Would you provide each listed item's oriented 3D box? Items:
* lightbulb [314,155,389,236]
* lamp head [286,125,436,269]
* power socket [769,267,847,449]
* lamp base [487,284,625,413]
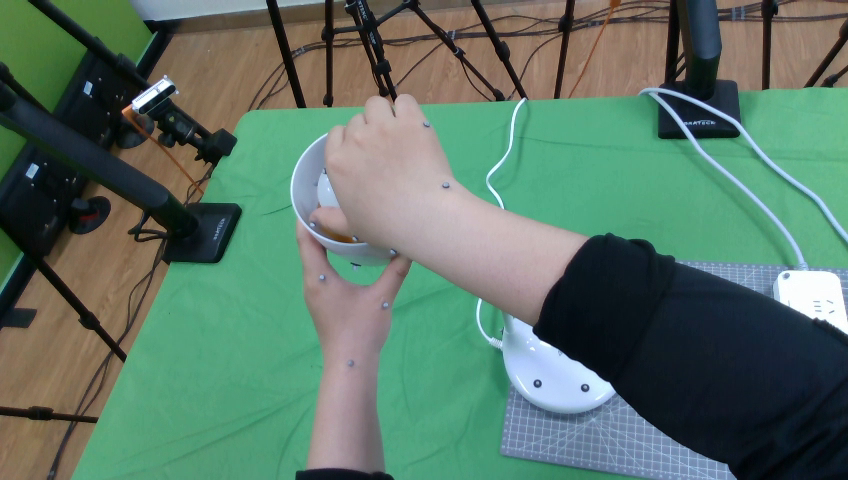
[{"bbox_3d":[-0.056,-0.030,0.507,0.059,0.108,0.059,-1,72,5],"label":"lightbulb"},{"bbox_3d":[-0.047,-0.023,0.534,0.112,0.124,0.111,-4,66,9],"label":"lamp head"},{"bbox_3d":[0.463,0.130,0.721,0.072,0.033,0.225,2,57,17],"label":"power socket"},{"bbox_3d":[0.150,0.108,0.739,0.178,0.182,0.159,-4,56,18],"label":"lamp base"}]
